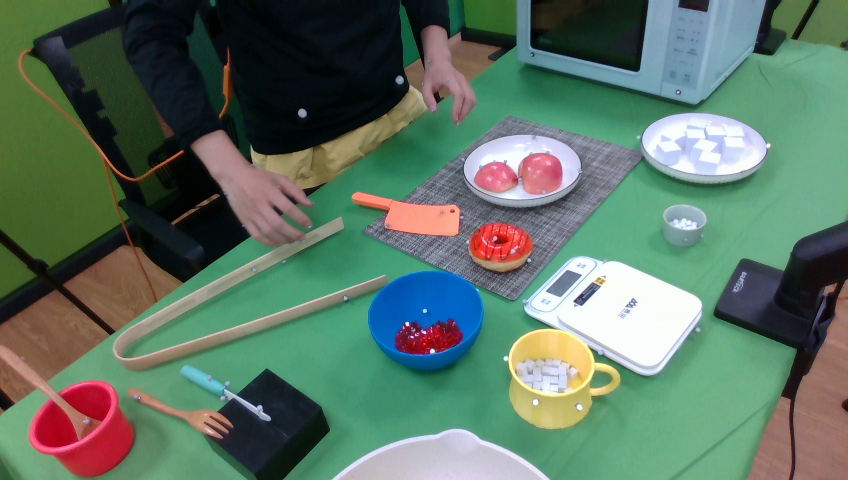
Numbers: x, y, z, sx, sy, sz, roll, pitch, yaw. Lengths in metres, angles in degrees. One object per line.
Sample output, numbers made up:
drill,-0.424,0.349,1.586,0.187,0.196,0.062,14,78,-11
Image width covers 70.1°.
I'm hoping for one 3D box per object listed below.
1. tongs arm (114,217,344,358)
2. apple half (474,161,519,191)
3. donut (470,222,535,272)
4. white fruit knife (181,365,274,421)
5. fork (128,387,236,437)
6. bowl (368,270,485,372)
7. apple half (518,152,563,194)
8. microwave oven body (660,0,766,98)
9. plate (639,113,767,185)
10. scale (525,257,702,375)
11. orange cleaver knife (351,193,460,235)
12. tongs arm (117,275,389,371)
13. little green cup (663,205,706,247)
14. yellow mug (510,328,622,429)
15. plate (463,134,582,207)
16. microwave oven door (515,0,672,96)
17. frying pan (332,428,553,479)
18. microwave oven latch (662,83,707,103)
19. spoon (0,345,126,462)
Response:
tongs arm,-0.279,0.067,0.925,0.386,0.026,0.050,-29,50,-24
apple half,0.130,-0.119,1.067,0.081,0.033,0.081,-4,36,3
donut,0.119,0.009,0.923,0.099,0.048,0.098,-4,38,3
white fruit knife,-0.245,0.187,0.747,0.205,0.027,0.016,9,41,40
fork,-0.305,0.207,0.744,0.206,0.019,0.028,3,42,36
bowl,0.007,0.118,0.791,0.151,0.077,0.150,-4,40,4
apple half,0.203,-0.123,1.047,0.075,0.053,0.080,-2,41,1
microwave oven body,0.472,-0.513,1.317,0.438,0.261,0.327,26,51,34
plate,0.489,-0.157,1.074,0.207,0.039,0.206,-4,40,4
scale,0.254,0.091,0.821,0.199,0.032,0.149,28,51,35
orange cleaver knife,-0.036,-0.044,1.029,0.210,0.012,0.077,10,49,18
tongs arm,-0.235,0.116,0.868,0.389,0.028,0.028,-17,49,-13
little green cup,0.396,-0.020,0.926,0.061,0.039,0.061,-4,40,4
yellow mug,0.169,0.164,0.721,0.130,0.064,0.099,0,40,8
plate,0.173,-0.119,1.070,0.209,0.038,0.208,-4,40,4
microwave oven door,0.343,-0.454,1.259,0.353,0.245,0.039,26,51,33
frying pan,-0.089,0.306,0.564,0.487,0.103,0.306,10,41,7
microwave oven latch,0.517,-0.296,1.204,0.078,0.029,0.030,27,52,35
spoon,-0.434,0.192,0.720,0.194,0.021,0.042,47,53,-7
